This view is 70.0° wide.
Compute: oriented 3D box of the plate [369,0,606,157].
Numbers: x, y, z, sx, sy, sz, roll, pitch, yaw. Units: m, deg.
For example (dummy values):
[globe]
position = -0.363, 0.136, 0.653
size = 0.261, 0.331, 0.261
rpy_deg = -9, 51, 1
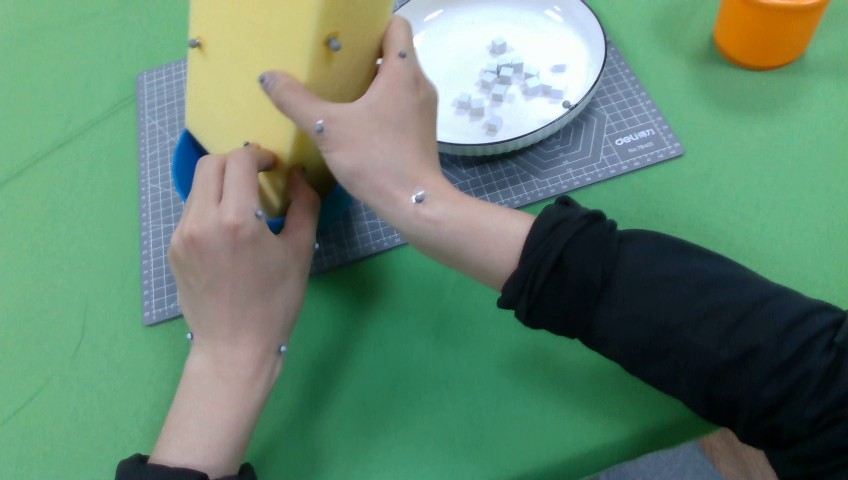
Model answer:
[plate]
position = 0.052, -0.153, 0.536
size = 0.209, 0.038, 0.207
rpy_deg = -4, 60, 7

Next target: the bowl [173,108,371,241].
[bowl]
position = -0.109, -0.054, 0.482
size = 0.151, 0.077, 0.150
rpy_deg = -5, 59, 8

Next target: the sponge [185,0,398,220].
[sponge]
position = -0.094, -0.126, 0.401
size = 0.117, 0.208, 0.061
rpy_deg = 43, 45, 19

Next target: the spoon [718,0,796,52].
[spoon]
position = 0.317, -0.224, 0.470
size = 0.022, 0.194, 0.041
rpy_deg = 3, 52, -41
